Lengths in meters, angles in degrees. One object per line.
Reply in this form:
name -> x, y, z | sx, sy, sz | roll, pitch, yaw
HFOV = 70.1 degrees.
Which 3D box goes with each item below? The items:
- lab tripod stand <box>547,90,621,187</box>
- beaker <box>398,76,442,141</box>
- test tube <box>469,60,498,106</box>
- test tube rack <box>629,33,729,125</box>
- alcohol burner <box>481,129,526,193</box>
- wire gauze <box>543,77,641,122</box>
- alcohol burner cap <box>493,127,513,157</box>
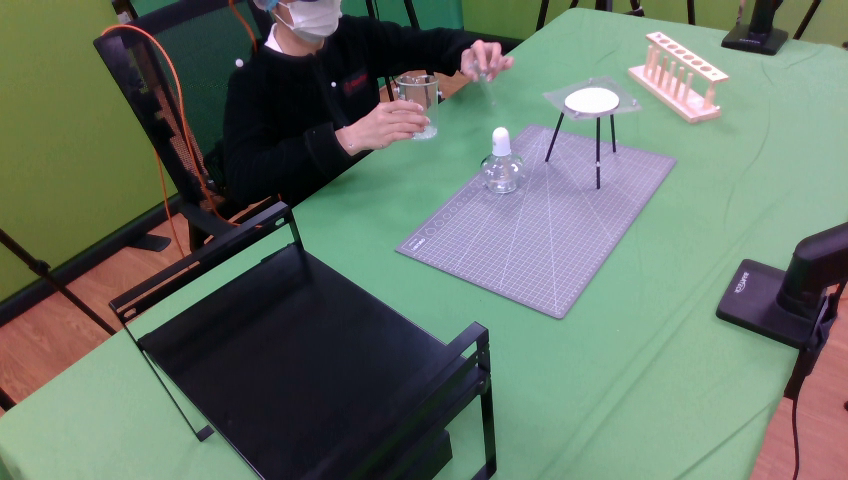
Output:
lab tripod stand -> 0.289, -0.184, 1.062 | 0.148, 0.132, 0.147 | -6, 41, 6
beaker -> -0.007, -0.233, 1.066 | 0.074, 0.100, 0.083 | -5, 27, -9
test tube -> 0.116, -0.298, 1.159 | 0.017, 0.151, 0.017 | -7, 71, 21
test tube rack -> 0.516, -0.337, 1.248 | 0.067, 0.085, 0.240 | -14, 41, -7
alcohol burner -> 0.138, -0.142, 1.052 | 0.078, 0.119, 0.077 | -5, 42, 5
wire gauze -> 0.282, -0.236, 1.020 | 0.125, 0.011, 0.120 | -15, 40, -6
alcohol burner cap -> 0.133, -0.169, 1.030 | 0.034, 0.048, 0.033 | -7, 36, 5
